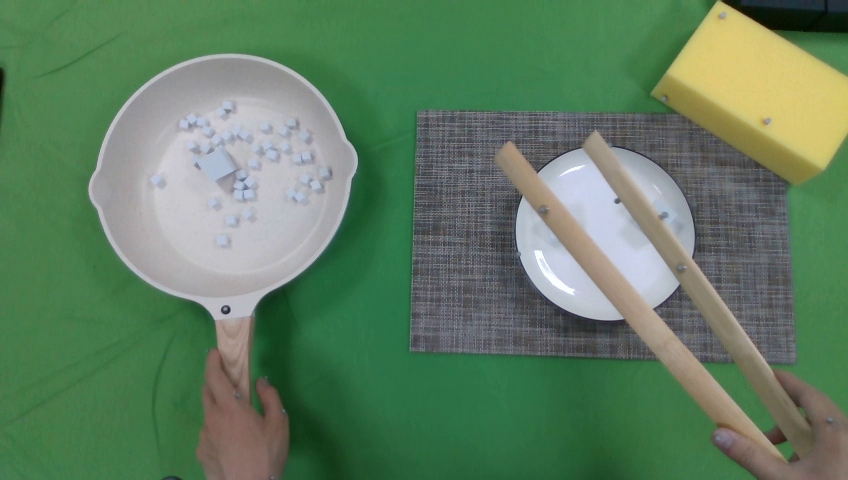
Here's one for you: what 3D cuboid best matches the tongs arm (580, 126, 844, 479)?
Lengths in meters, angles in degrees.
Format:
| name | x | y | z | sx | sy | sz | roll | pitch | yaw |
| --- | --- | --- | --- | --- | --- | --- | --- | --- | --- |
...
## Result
| name | x | y | z | sx | sy | sz | roll | pitch | yaw |
| --- | --- | --- | --- | --- | --- | --- | --- | --- | --- |
| tongs arm | 0.241 | 0.046 | 0.552 | 0.051 | 0.026 | 0.381 | -11 | 62 | -40 |

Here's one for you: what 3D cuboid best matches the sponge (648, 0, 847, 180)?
| name | x | y | z | sx | sy | sz | roll | pitch | yaw |
| --- | --- | --- | --- | --- | --- | --- | --- | --- | --- |
| sponge | 0.396 | -0.180 | 0.723 | 0.206 | 0.061 | 0.118 | 34 | 82 | 7 |

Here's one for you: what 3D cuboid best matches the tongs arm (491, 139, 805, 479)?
| name | x | y | z | sx | sy | sz | roll | pitch | yaw |
| --- | --- | --- | --- | --- | --- | --- | --- | --- | --- |
| tongs arm | 0.185 | 0.062 | 0.503 | 0.385 | 0.028 | 0.028 | 51 | 130 | 13 |

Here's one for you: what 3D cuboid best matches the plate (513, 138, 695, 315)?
| name | x | y | z | sx | sy | sz | roll | pitch | yaw |
| --- | --- | --- | --- | --- | --- | --- | --- | --- | --- |
| plate | 0.207 | -0.015 | 0.713 | 0.207 | 0.039 | 0.207 | 0 | 81 | 2 |

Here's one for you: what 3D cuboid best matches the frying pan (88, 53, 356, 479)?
| name | x | y | z | sx | sy | sz | roll | pitch | yaw |
| --- | --- | --- | --- | --- | --- | --- | --- | --- | --- |
| frying pan | -0.218 | 0.027 | 0.686 | 0.307 | 0.103 | 0.484 | -7 | 73 | 1 |
